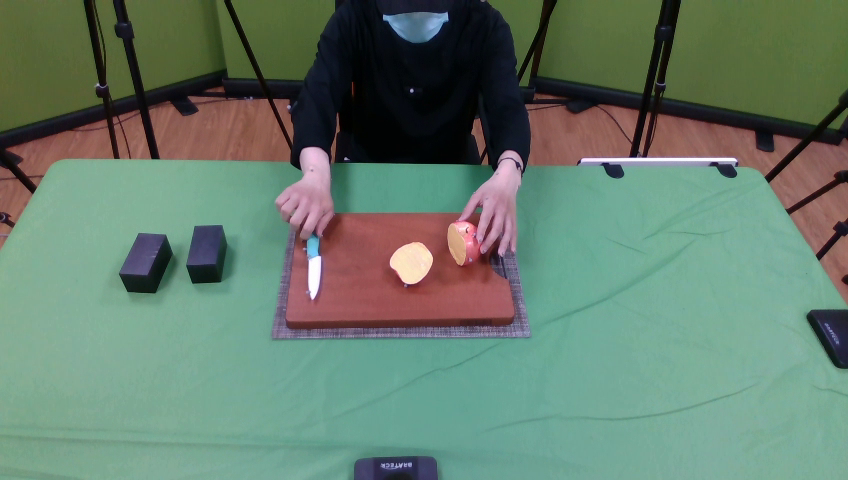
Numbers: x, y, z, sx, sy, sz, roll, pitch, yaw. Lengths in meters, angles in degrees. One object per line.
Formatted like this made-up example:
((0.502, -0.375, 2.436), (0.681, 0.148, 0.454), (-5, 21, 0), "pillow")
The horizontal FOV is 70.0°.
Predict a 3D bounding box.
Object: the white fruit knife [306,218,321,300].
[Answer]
((-0.203, 0.031, 1.113), (0.027, 0.016, 0.206), (-1, 44, -8), "white fruit knife")

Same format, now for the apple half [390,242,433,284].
((-0.017, 0.045, 1.096), (0.081, 0.033, 0.081), (-6, 63, 13), "apple half")

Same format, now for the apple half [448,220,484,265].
((0.082, 0.004, 1.121), (0.053, 0.075, 0.080), (-12, 44, -21), "apple half")
